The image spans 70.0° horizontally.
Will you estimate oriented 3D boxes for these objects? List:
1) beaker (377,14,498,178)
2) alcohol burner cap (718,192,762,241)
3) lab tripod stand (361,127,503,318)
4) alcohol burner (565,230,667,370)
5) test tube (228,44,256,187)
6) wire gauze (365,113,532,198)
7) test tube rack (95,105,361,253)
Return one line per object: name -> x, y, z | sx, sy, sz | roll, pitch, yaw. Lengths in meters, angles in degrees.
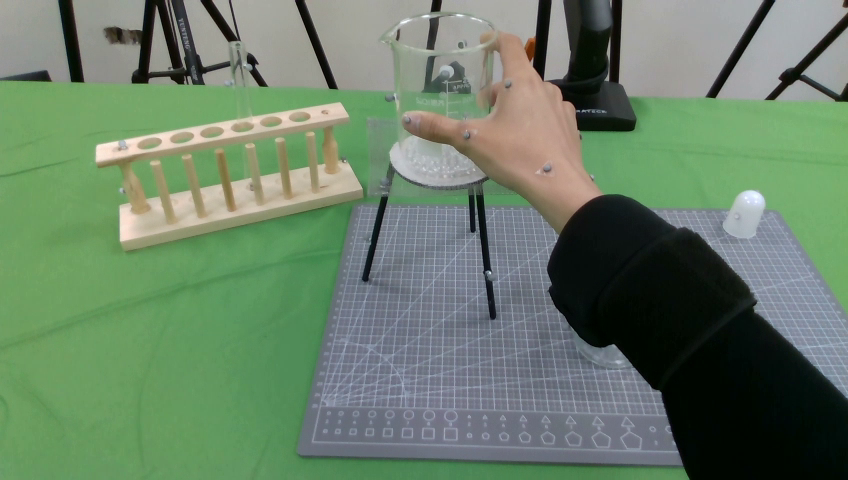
beaker -> 0.010, -0.103, 0.445 | 0.084, 0.101, 0.073 | 2, 39, 5
alcohol burner cap -> 0.316, -0.026, 0.603 | 0.034, 0.048, 0.033 | 0, 40, 0
lab tripod stand -> 0.014, -0.017, 0.521 | 0.148, 0.132, 0.147 | -1, 41, 1
alcohol burner -> 0.150, 0.043, 0.464 | 0.078, 0.120, 0.077 | 0, 38, 1
test tube -> -0.182, -0.120, 0.610 | 0.017, 0.151, 0.017 | 3, 34, -2
wire gauze -> 0.014, -0.067, 0.479 | 0.125, 0.011, 0.120 | -4, 38, 0
test tube rack -> -0.193, -0.067, 0.623 | 0.243, 0.086, 0.066 | -14, 42, -17
